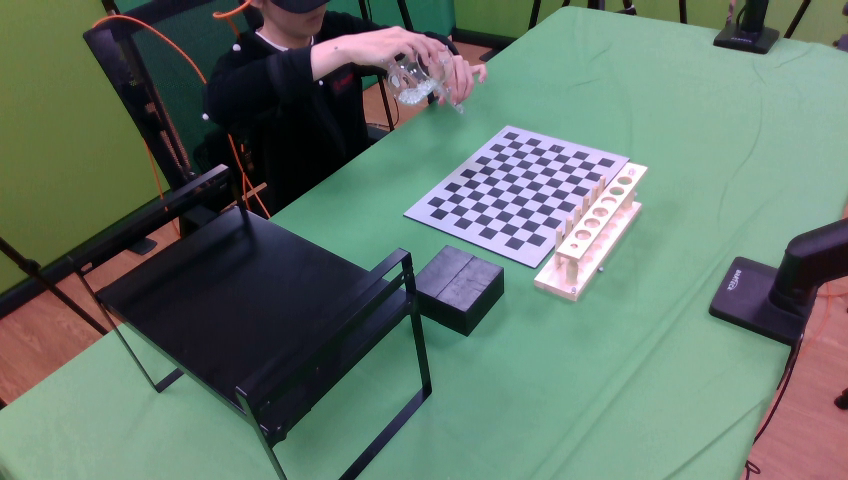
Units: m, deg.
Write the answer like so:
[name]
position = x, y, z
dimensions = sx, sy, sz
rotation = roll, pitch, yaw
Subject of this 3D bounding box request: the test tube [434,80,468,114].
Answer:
[test tube]
position = 0.052, -0.259, 1.103
dimensions = 0.017, 0.151, 0.017
rotation = -3, 83, 22

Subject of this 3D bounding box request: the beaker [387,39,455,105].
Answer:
[beaker]
position = -0.006, -0.268, 0.982
dimensions = 0.073, 0.084, 0.100
rotation = 16, 46, 29

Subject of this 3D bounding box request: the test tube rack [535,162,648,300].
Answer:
[test tube rack]
position = 0.257, -0.024, 0.916
dimensions = 0.066, 0.085, 0.243
rotation = 22, 49, 30
